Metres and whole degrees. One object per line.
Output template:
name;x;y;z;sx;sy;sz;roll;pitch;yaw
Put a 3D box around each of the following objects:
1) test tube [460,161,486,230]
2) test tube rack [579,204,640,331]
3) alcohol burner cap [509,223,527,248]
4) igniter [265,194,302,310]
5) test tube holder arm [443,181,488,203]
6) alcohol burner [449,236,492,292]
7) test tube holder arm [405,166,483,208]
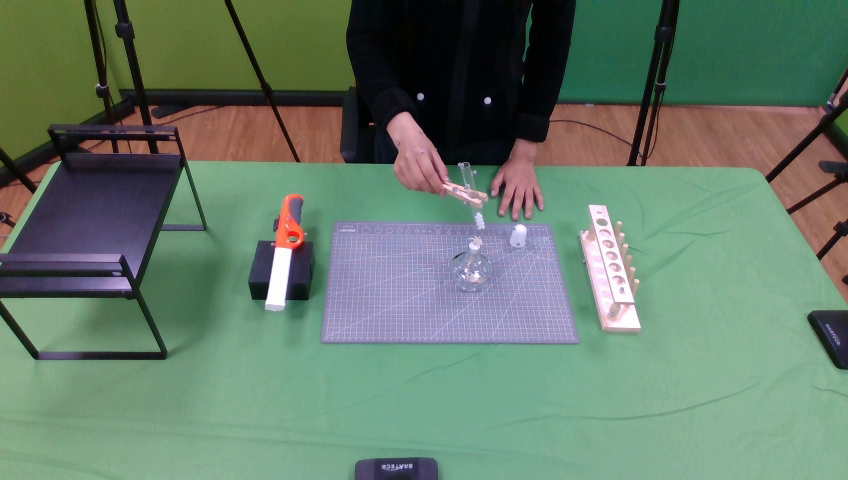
test tube;0.081;-0.069;0.991;0.017;0.151;0.017;-9;47;10
test tube rack;0.353;0.047;1.137;0.067;0.085;0.241;2;46;-2
alcohol burner cap;0.189;-0.011;1.206;0.034;0.048;0.033;1;45;-1
igniter;-0.253;0.012;1.099;0.057;0.025;0.274;9;46;-12
test tube holder arm;0.067;-0.080;1.004;0.087;0.015;0.010;20;55;32
alcohol burner;0.086;0.038;1.101;0.078;0.119;0.077;3;44;-2
test tube holder arm;0.030;-0.092;1.028;0.177;0.015;0.013;28;59;37
